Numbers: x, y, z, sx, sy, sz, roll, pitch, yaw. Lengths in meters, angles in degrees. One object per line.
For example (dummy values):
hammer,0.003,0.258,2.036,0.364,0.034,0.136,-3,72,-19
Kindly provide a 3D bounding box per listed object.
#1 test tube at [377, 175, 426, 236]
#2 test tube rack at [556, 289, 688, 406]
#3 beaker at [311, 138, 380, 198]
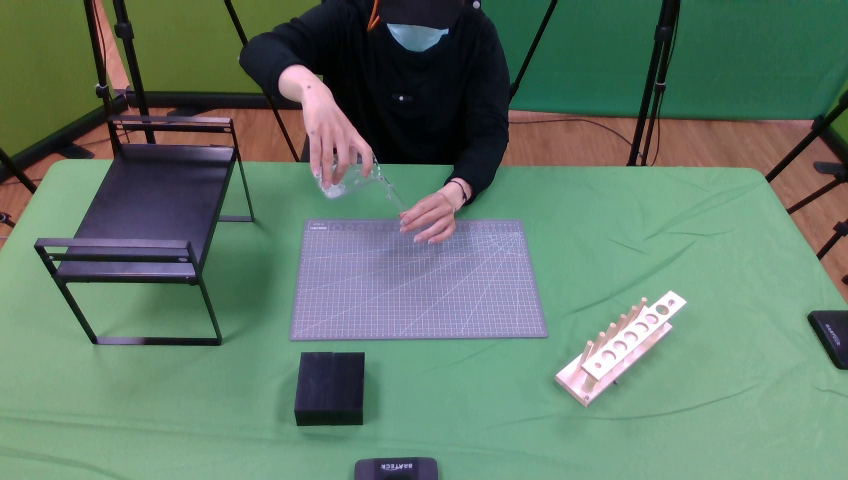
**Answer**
test tube,-0.040,-0.061,1.106,0.017,0.151,0.017,-25,35,19
test tube rack,0.332,0.166,1.014,0.242,0.085,0.066,-30,55,-28
beaker,-0.135,-0.120,1.049,0.100,0.084,0.073,-21,41,11
